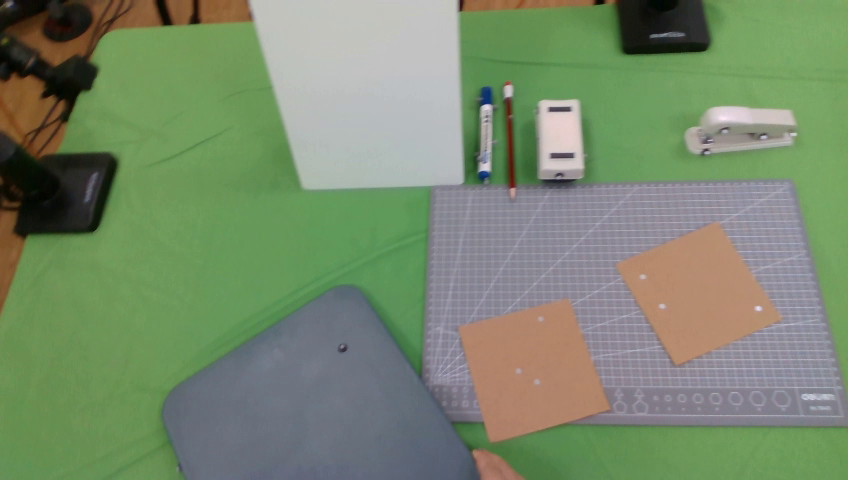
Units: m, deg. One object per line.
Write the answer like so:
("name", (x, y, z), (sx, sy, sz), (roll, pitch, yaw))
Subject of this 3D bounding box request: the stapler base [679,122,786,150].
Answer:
("stapler base", (0.398, -0.144, 0.776), (0.130, 0.024, 0.041), (-6, 66, 1))

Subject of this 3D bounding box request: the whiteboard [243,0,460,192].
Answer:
("whiteboard", (-0.069, -0.224, 0.738), (0.217, 0.308, 0.142), (-1, 45, 6))

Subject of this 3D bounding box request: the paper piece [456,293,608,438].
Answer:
("paper piece", (0.117, 0.135, 0.675), (0.135, 0.004, 0.134), (-14, 64, -2))

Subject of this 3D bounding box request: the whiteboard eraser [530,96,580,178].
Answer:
("whiteboard eraser", (0.169, -0.133, 0.784), (0.055, 0.042, 0.112), (-2, 64, 6))

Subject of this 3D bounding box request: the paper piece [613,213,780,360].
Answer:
("paper piece", (0.310, 0.051, 0.697), (0.136, 0.009, 0.137), (-23, 66, -1))

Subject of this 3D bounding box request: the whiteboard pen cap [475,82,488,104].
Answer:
("whiteboard pen cap", (0.080, -0.200, 0.837), (0.018, 0.018, 0.033), (-2, 63, 5))

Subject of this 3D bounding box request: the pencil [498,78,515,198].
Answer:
("pencil", (0.112, -0.140, 0.809), (0.012, 0.012, 0.192), (-3, 64, 4))

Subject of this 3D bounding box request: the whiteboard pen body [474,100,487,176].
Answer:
("whiteboard pen body", (0.076, -0.148, 0.813), (0.017, 0.017, 0.139), (0, 64, 6))

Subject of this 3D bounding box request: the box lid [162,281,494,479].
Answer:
("box lid", (-0.101, 0.229, 0.630), (0.263, 0.015, 0.367), (-33, 59, -11))

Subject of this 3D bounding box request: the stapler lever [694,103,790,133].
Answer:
("stapler lever", (0.398, -0.155, 0.755), (0.118, 0.040, 0.026), (-6, 66, 2))
